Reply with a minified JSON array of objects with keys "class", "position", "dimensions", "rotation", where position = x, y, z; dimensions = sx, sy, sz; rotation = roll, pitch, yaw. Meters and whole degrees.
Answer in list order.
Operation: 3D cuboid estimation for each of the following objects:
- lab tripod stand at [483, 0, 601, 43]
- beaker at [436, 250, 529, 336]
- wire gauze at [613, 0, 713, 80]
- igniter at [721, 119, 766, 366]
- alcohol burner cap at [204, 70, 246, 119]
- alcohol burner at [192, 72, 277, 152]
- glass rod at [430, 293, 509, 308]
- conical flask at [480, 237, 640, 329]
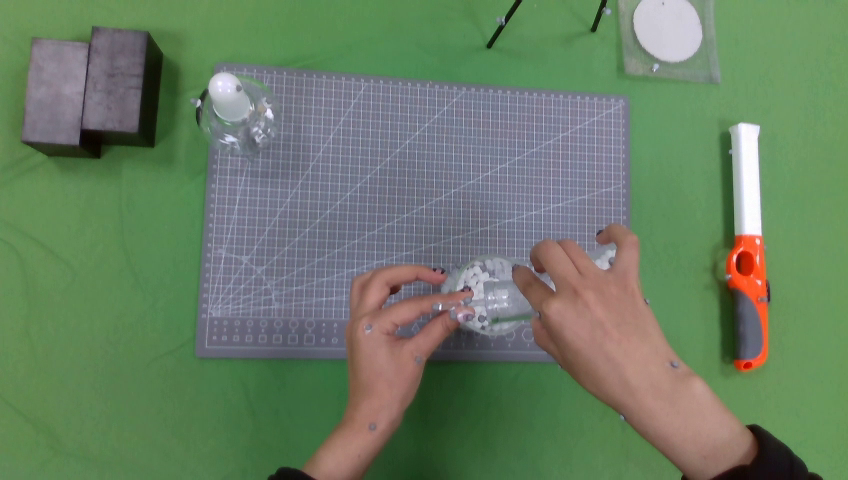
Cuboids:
[{"class":"lab tripod stand","position":[0.129,-0.272,0.619],"dimensions":[0.149,0.131,0.148],"rotation":[1,86,-8]},{"class":"beaker","position":[0.054,0.050,0.590],"dimensions":[0.084,0.100,0.074],"rotation":[-41,91,-11]},{"class":"wire gauze","position":[0.279,-0.249,0.702],"dimensions":[0.125,0.011,0.121],"rotation":[1,84,-10]},{"class":"igniter","position":[0.356,0.001,0.679],"dimensions":[0.057,0.025,0.275],"rotation":[4,84,-19]},{"class":"alcohol burner cap","position":[-0.175,-0.130,0.530],"dimensions":[0.034,0.048,0.033],"rotation":[2,76,-10]},{"class":"alcohol burner","position":[-0.180,-0.124,0.565],"dimensions":[0.078,0.119,0.077],"rotation":[1,84,-6]},{"class":"glass rod","position":[0.045,0.051,0.518],"dimensions":[0.008,0.201,0.008],"rotation":[-1,86,22]},{"class":"conical flask","position":[0.108,0.042,0.498],"dimensions":[0.122,0.075,0.075],"rotation":[-8,85,8]}]
